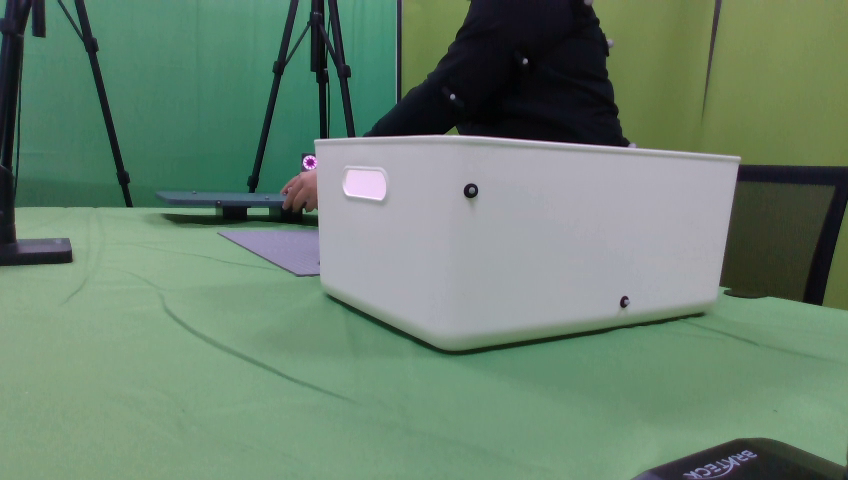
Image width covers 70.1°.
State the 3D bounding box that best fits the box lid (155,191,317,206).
[{"bbox_3d":[-0.387,-0.091,1.340,0.373,0.015,0.262,-1,8,-30],"label":"box lid"}]

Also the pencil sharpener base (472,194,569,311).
[{"bbox_3d":[0.095,0.010,0.592,0.077,0.107,0.061,-1,7,-33],"label":"pencil sharpener base"}]

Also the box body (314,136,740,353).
[{"bbox_3d":[0.098,-0.012,0.605,0.366,0.160,0.253,-2,8,-33],"label":"box body"}]

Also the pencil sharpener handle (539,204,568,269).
[{"bbox_3d":[0.138,-0.003,0.621,0.031,0.067,0.036,-1,16,-33],"label":"pencil sharpener handle"}]
